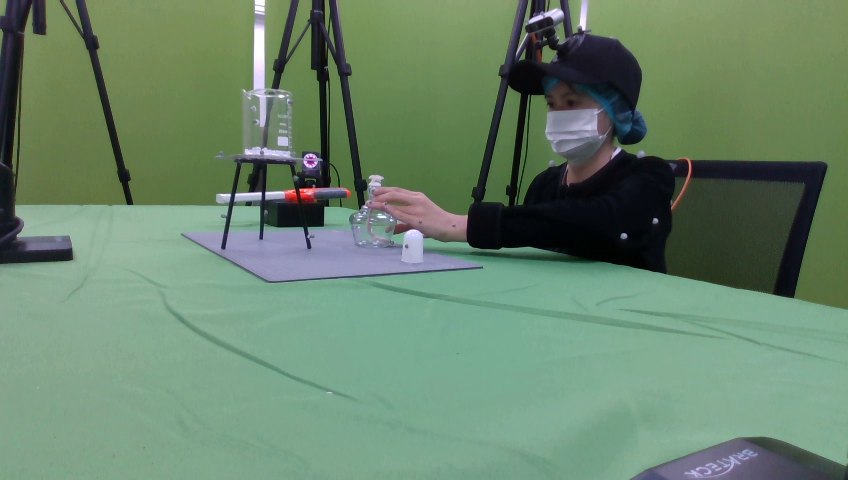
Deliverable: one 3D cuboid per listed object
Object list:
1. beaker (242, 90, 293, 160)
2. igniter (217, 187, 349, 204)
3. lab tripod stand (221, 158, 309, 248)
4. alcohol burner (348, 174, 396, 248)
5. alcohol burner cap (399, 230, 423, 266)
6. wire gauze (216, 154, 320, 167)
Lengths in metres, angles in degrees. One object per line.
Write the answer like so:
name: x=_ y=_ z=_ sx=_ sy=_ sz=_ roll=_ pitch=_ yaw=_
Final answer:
beaker: x=-0.235 y=-0.169 z=0.900 sx=0.074 sy=0.100 sz=0.084 roll=4 pitch=7 yaw=23
igniter: x=-0.285 y=-0.093 z=1.256 sx=0.278 sy=0.025 sz=0.057 roll=-6 pitch=12 yaw=-34
lab tripod stand: x=-0.244 y=-0.057 z=0.917 sx=0.148 sy=0.131 sz=0.148 roll=1 pitch=7 yaw=0
alcohol burner: x=-0.083 y=-0.046 z=0.973 sx=0.078 sy=0.119 sz=0.078 roll=4 pitch=5 yaw=0
alcohol burner cap: x=-0.017 y=0.010 z=0.837 sx=0.034 sy=0.048 sz=0.034 roll=3 pitch=6 yaw=0
wire gauze: x=-0.236 y=-0.121 z=0.906 sx=0.126 sy=0.011 sz=0.121 roll=0 pitch=8 yaw=-33
